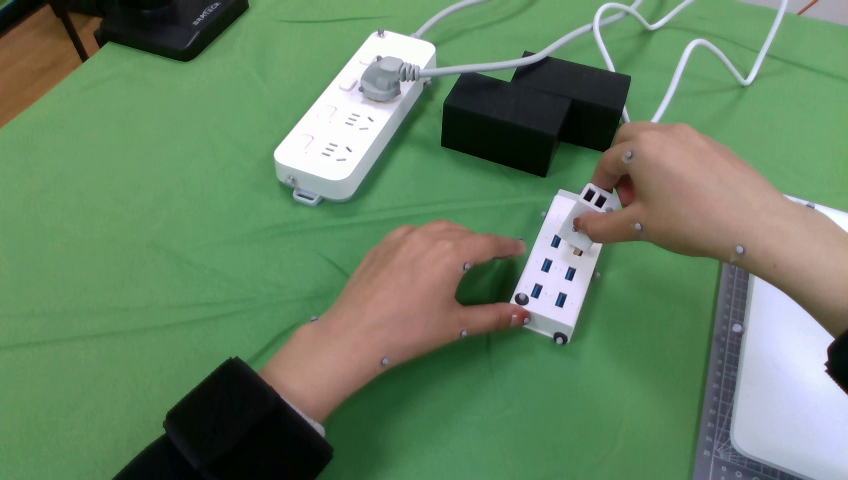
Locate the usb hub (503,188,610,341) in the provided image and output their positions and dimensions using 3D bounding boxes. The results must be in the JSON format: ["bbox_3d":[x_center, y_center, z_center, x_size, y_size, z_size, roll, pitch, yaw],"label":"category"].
[{"bbox_3d":[0.105,0.015,0.465,0.049,0.025,0.124,20,54,13],"label":"usb hub"}]

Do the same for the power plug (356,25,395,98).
[{"bbox_3d":[-0.042,-0.157,0.558,0.035,0.053,0.072,12,45,-5],"label":"power plug"}]

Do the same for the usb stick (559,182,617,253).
[{"bbox_3d":[0.116,-0.013,0.437,0.027,0.059,0.021,26,58,14],"label":"usb stick"}]

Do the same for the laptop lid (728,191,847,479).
[{"bbox_3d":[0.395,0.099,0.401,0.355,0.013,0.240,21,57,13],"label":"laptop lid"}]

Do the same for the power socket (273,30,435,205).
[{"bbox_3d":[-0.058,-0.121,0.557,0.072,0.033,0.225,20,54,12],"label":"power socket"}]

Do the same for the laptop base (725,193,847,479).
[{"bbox_3d":[0.395,0.105,0.412,0.353,0.023,0.234,20,57,12],"label":"laptop base"}]
